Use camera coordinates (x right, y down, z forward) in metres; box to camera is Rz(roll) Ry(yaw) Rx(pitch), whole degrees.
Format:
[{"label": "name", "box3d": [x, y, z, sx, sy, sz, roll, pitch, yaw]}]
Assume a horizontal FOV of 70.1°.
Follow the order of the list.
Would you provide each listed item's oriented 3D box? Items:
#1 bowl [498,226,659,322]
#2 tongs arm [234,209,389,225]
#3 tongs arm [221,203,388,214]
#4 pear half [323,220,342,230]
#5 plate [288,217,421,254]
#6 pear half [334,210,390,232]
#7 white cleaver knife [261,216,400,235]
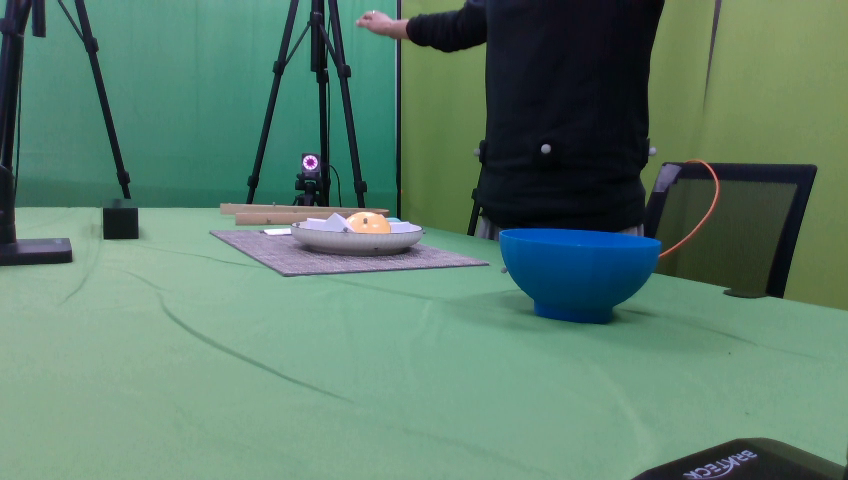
[{"label": "bowl", "box3d": [0.145, 0.032, 0.583, 0.151, 0.077, 0.151, 2, 7, 0]}, {"label": "tongs arm", "box3d": [-0.232, -0.052, 1.347, 0.390, 0.028, 0.028, -3, 7, -38]}, {"label": "tongs arm", "box3d": [-0.271, -0.067, 1.415, 0.387, 0.026, 0.050, 0, 9, -26]}, {"label": "pear half", "box3d": [-0.127, -0.019, 1.001, 0.088, 0.031, 0.070, 9, 4, 1]}, {"label": "plate", "box3d": [-0.109, -0.007, 0.956, 0.208, 0.039, 0.207, 2, 7, 0]}, {"label": "pear half", "box3d": [-0.108, -0.017, 0.920, 0.110, 0.056, 0.076, -4, 5, -20]}, {"label": "white cleaver knife", "box3d": [-0.168, -0.022, 1.156, 0.288, 0.021, 0.065, -7, 18, -33]}]
